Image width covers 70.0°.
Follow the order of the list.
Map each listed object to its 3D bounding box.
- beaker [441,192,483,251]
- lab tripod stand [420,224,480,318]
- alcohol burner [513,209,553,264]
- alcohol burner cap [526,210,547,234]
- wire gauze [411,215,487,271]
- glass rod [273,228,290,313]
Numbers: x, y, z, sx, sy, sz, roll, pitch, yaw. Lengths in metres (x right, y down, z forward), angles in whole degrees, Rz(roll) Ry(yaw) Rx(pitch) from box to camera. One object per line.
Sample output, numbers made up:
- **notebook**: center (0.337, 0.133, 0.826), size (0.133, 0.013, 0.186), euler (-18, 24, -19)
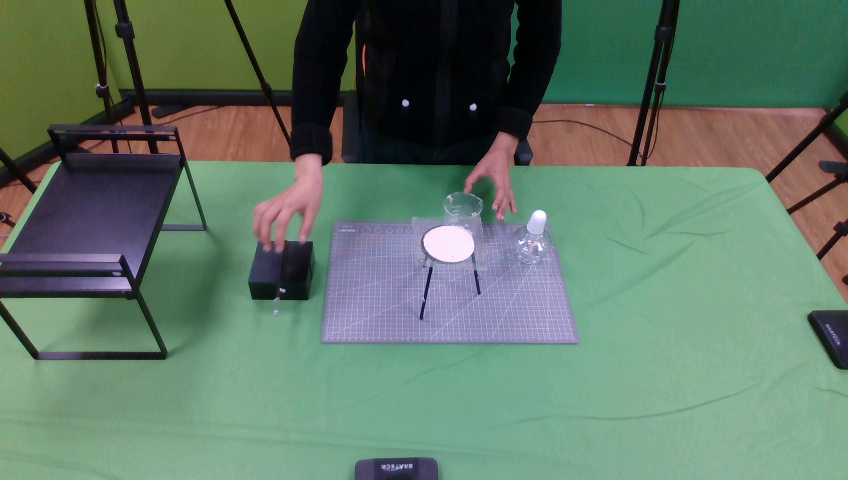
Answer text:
- **beaker**: center (0.073, -0.035, 1.180), size (0.084, 0.101, 0.073), euler (-20, 51, -22)
- **lab tripod stand**: center (0.034, 0.052, 1.070), size (0.148, 0.132, 0.147), euler (3, 48, -3)
- **alcohol burner**: center (0.210, -0.012, 1.158), size (0.078, 0.120, 0.077), euler (1, 45, -1)
- **alcohol burner cap**: center (0.213, -0.037, 1.133), size (0.034, 0.048, 0.033), euler (4, 51, -4)
- **wire gauze**: center (0.041, 0.002, 1.025), size (0.125, 0.011, 0.120), euler (1, 46, -3)
- **glass rod**: center (-0.252, 0.050, 1.074), size (0.008, 0.008, 0.198), euler (0, 45, -4)
